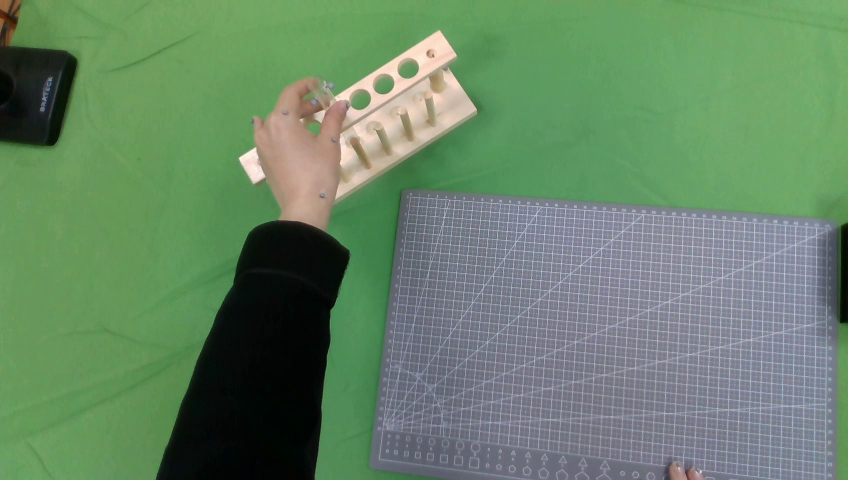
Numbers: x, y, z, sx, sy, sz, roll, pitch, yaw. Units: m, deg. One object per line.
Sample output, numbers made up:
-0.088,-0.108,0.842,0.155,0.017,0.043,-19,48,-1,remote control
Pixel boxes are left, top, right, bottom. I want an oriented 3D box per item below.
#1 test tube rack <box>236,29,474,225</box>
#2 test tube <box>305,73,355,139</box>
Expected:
-0.068,-0.115,0.649,0.242,0.085,0.066,-32,78,0,test tube rack
-0.091,-0.129,0.603,0.017,0.151,0.017,-1,82,5,test tube
